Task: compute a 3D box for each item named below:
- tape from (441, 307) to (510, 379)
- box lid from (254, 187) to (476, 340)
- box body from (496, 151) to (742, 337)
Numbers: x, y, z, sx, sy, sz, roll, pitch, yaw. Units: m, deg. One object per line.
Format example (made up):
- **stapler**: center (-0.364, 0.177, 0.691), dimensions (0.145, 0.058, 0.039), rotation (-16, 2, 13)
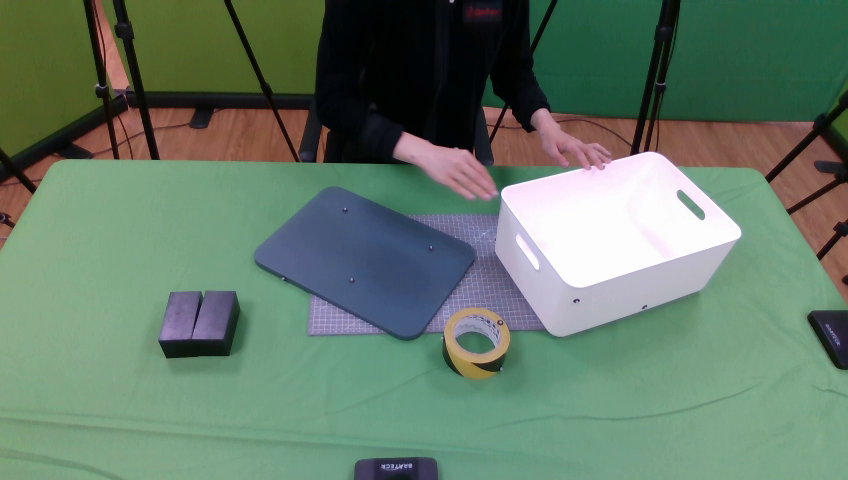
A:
- **tape**: center (0.087, 0.172, 1.014), dimensions (0.117, 0.053, 0.116), rotation (2, 48, -2)
- **box lid**: center (-0.112, 0.028, 1.168), dimensions (0.370, 0.015, 0.262), rotation (24, 49, 19)
- **box body**: center (0.340, 0.003, 1.118), dimensions (0.364, 0.161, 0.252), rotation (-15, 49, -18)
